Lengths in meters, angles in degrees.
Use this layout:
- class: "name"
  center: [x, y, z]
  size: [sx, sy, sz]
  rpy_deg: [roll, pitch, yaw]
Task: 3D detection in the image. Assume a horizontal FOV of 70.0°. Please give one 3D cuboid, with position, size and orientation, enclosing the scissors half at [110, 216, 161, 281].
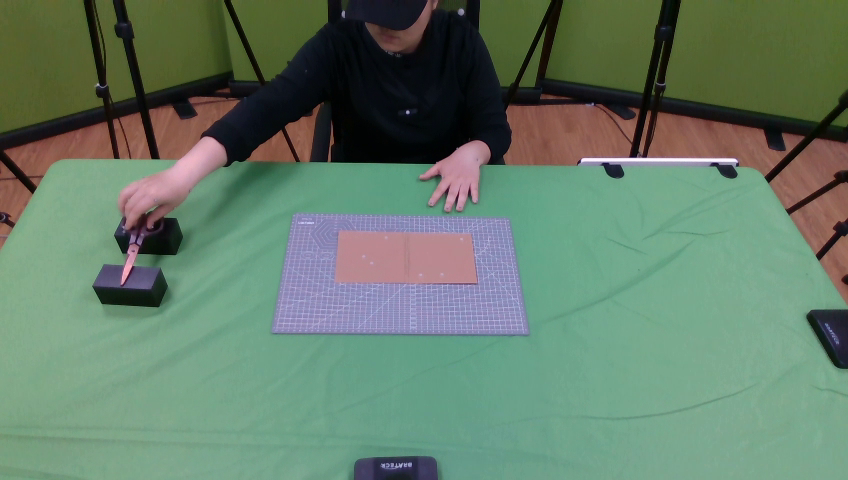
- class: "scissors half"
  center: [-0.517, 0.014, 1.087]
  size: [0.040, 0.013, 0.174]
  rpy_deg: [-32, 28, 26]

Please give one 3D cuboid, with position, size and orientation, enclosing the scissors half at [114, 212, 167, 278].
- class: "scissors half"
  center: [-0.504, 0.006, 1.078]
  size: [0.013, 0.040, 0.174]
  rpy_deg: [40, 39, -22]

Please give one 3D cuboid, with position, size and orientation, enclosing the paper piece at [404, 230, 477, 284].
- class: "paper piece"
  center: [0.030, 0.033, 1.174]
  size: [0.138, 0.009, 0.135]
  rpy_deg: [2, 49, -3]

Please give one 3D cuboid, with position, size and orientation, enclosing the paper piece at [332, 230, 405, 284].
- class: "paper piece"
  center: [-0.104, 0.031, 1.165]
  size: [0.135, 0.004, 0.135]
  rpy_deg: [2, 47, -4]
